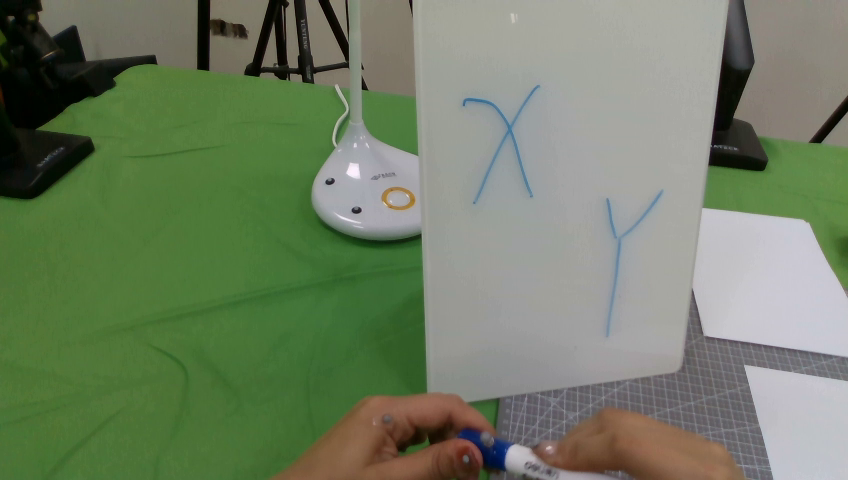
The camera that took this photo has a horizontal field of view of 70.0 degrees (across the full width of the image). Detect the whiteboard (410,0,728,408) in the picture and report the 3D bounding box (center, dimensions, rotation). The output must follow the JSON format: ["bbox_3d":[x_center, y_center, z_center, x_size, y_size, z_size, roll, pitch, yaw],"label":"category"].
[{"bbox_3d":[0.092,-0.046,0.497,0.218,0.307,0.142,-6,21,-9],"label":"whiteboard"}]

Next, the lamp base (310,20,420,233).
[{"bbox_3d":[-0.052,-0.126,0.639,0.161,0.182,0.177,-24,44,-29],"label":"lamp base"}]

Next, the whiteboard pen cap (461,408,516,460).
[{"bbox_3d":[0.038,0.110,0.342,0.018,0.018,0.033,-28,38,-32],"label":"whiteboard pen cap"}]

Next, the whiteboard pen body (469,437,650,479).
[{"bbox_3d":[0.083,0.120,0.305,0.140,0.017,0.017,7,35,35],"label":"whiteboard pen body"}]
